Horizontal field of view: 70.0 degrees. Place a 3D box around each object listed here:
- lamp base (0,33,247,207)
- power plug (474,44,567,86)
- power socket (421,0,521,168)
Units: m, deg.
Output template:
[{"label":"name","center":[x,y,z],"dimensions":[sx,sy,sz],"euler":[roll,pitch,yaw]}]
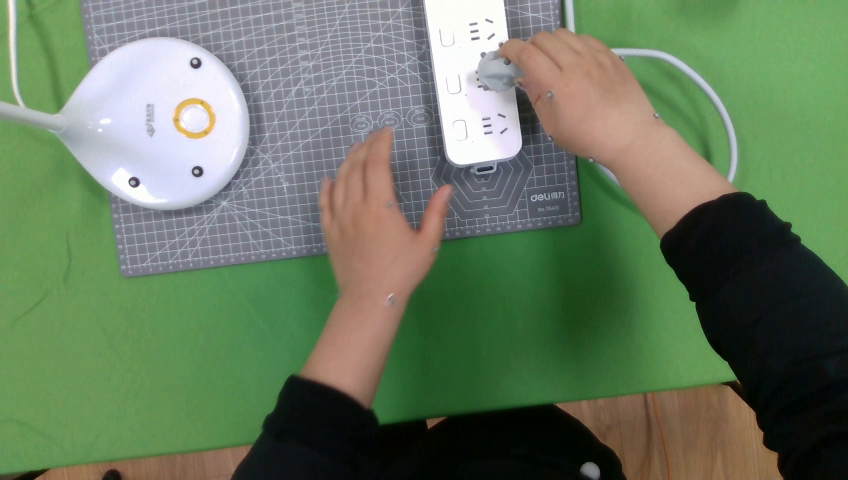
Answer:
[{"label":"lamp base","center":[-0.260,-0.103,0.491],"dimensions":[0.179,0.180,0.161],"euler":[-12,94,4]},{"label":"power plug","center":[0.079,-0.147,0.524],"dimensions":[0.073,0.052,0.035],"euler":[12,91,-13]},{"label":"power socket","center":[0.039,-0.181,0.555],"dimensions":[0.072,0.032,0.227],"euler":[-9,94,0]}]
